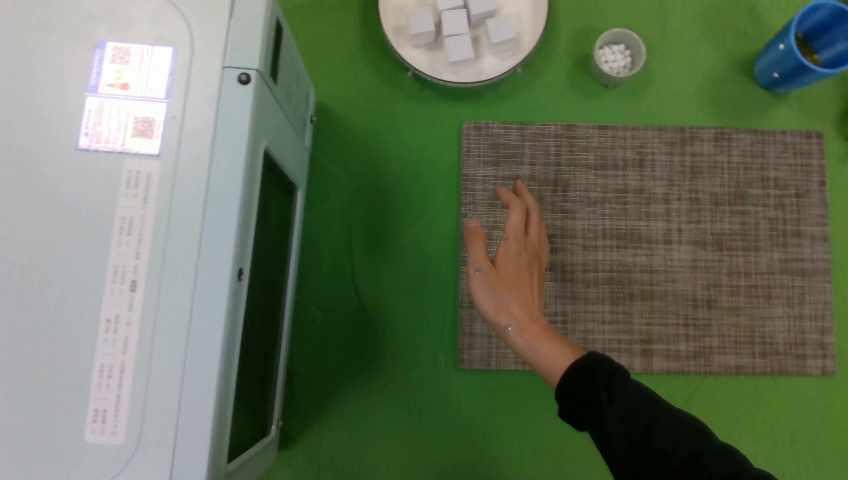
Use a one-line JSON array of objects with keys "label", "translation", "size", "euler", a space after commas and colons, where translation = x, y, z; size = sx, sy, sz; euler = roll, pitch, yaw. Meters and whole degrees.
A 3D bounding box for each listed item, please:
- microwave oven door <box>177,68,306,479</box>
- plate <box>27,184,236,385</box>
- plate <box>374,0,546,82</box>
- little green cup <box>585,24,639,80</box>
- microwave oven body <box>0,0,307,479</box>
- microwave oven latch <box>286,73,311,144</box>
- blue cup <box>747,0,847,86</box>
[{"label": "microwave oven door", "translation": [-0.166, 0.050, 0.581], "size": [0.039, 0.244, 0.354], "euler": [4, 83, 0]}, {"label": "plate", "translation": [-0.300, 0.046, 0.636], "size": [0.209, 0.038, 0.208], "euler": [0, 83, -1]}, {"label": "plate", "translation": [0.044, -0.291, 0.745], "size": [0.208, 0.039, 0.207], "euler": [0, 83, -1]}, {"label": "little green cup", "translation": [0.227, -0.228, 0.742], "size": [0.061, 0.039, 0.061], "euler": [0, 83, -1]}, {"label": "microwave oven body", "translation": [-0.308, -0.002, 0.589], "size": [0.326, 0.260, 0.440], "euler": [4, 84, -1]}, {"label": "microwave oven latch", "translation": [-0.149, -0.154, 0.706], "size": [0.030, 0.029, 0.079], "euler": [6, 84, -1]}, {"label": "blue cup", "translation": [0.437, -0.228, 0.715], "size": [0.093, 0.100, 0.092], "euler": [0, 84, -2]}]
